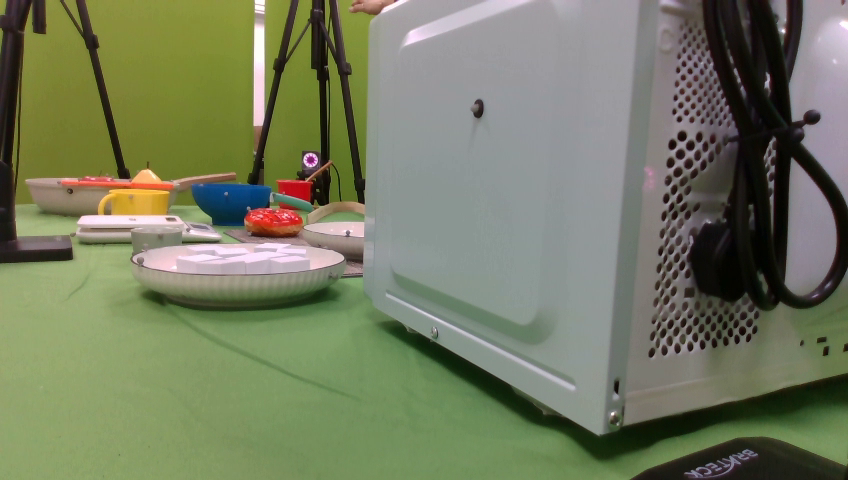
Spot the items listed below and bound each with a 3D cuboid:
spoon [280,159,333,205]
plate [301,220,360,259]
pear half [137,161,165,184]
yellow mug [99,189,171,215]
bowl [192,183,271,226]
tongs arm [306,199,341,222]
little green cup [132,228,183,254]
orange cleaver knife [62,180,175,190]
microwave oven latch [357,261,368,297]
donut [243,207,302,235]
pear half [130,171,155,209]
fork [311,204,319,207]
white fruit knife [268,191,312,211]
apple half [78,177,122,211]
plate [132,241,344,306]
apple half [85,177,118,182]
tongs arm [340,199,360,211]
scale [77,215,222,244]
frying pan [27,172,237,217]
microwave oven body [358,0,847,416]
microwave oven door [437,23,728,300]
[{"bbox_3d":[-0.316,-0.159,1.640,0.194,0.022,0.041,-50,31,-20],"label":"spoon"},{"bbox_3d":[-0.077,-0.002,0.893,0.209,0.038,0.209,3,8,0],"label":"plate"},{"bbox_3d":[-0.604,-0.120,1.354,0.056,0.110,0.076,3,11,7],"label":"pear half"},{"bbox_3d":[-0.518,-0.055,1.080,0.099,0.064,0.131,7,9,26],"label":"yellow mug"},{"bbox_3d":[-0.382,-0.071,1.202,0.151,0.077,0.151,3,7,0],"label":"bowl"},{"bbox_3d":[-0.234,-0.069,1.414,0.028,0.028,0.387,-5,8,1],"label":"tongs arm"},{"bbox_3d":[-0.342,0.006,0.779,0.061,0.038,0.061,2,8,0],"label":"little green cup"},{"bbox_3d":[-0.600,-0.110,1.193,0.212,0.012,0.077,1,8,-13],"label":"orange cleaver knife"},{"bbox_3d":[-0.019,0.033,0.531,0.079,0.029,0.030,-1,7,-27],"label":"microwave oven latch"},{"bbox_3d":[-0.261,-0.032,1.043,0.099,0.048,0.099,4,9,0],"label":"donut"},{"bbox_3d":[-0.640,-0.113,1.361,0.031,0.088,0.070,5,10,5],"label":"pear half"},{"bbox_3d":[-0.356,-0.105,1.526,0.208,0.018,0.028,16,-6,-41],"label":"fork"},{"bbox_3d":[-0.364,-0.105,1.463,0.208,0.027,0.016,15,-2,-34],"label":"white fruit knife"},{"bbox_3d":[-0.698,-0.099,1.298,0.081,0.074,0.053,-9,9,-40],"label":"apple half"},{"bbox_3d":[-0.187,0.033,0.625,0.208,0.039,0.207,2,7,0],"label":"plate"},{"bbox_3d":[-0.673,-0.096,1.269,0.082,0.081,0.032,-4,6,-40],"label":"apple half"},{"bbox_3d":[-0.149,-0.071,1.429,0.051,0.026,0.383,-4,9,-15],"label":"tongs arm"},{"bbox_3d":[-0.434,-0.019,0.963,0.202,0.031,0.148,-1,9,-27],"label":"scale"},{"bbox_3d":[-0.624,-0.118,1.387,0.305,0.102,0.490,8,17,32],"label":"frying pan"},{"bbox_3d":[0.211,-0.047,0.475,0.444,0.260,0.324,-1,7,-28],"label":"microwave oven body"},{"bbox_3d":[0.181,-0.072,0.621,0.358,0.243,0.039,-2,8,-29],"label":"microwave oven door"}]
